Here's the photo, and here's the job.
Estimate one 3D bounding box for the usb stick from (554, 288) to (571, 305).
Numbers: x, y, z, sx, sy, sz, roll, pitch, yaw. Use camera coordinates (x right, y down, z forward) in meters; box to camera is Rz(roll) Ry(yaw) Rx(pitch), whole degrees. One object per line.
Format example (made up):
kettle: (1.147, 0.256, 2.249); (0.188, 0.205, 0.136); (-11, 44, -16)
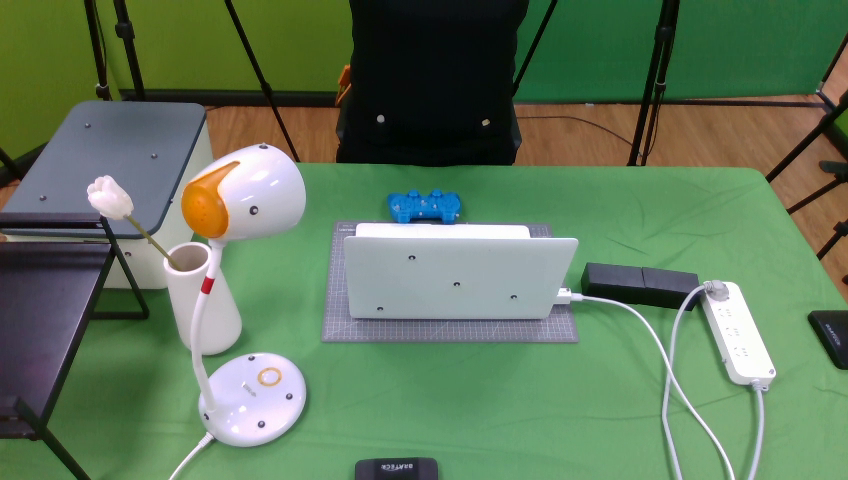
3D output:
usb stick: (0.236, 0.103, 1.101); (0.059, 0.027, 0.021); (-2, 46, 1)

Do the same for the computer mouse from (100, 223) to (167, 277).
computer mouse: (-0.539, 0.014, 1.123); (0.062, 0.041, 0.117); (30, 57, 18)

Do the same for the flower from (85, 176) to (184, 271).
flower: (-0.365, 0.038, 0.894); (0.038, 0.364, 0.044); (-6, 53, 14)

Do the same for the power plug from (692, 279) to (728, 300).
power plug: (0.522, 0.091, 1.116); (0.072, 0.053, 0.035); (10, 47, 8)

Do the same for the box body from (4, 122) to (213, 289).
box body: (-0.563, -0.086, 1.138); (0.254, 0.161, 0.361); (2, 46, -3)

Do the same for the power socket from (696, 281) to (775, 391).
power socket: (0.550, 0.160, 1.078); (0.072, 0.033, 0.225); (2, 46, -1)

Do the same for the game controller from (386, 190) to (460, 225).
game controller: (0.000, -0.073, 1.251); (0.155, 0.052, 0.096); (-2, 47, -5)

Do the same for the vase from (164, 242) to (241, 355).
vase: (-0.349, 0.096, 0.954); (0.098, 0.201, 0.097); (3, 47, -3)

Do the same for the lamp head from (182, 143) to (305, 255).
lamp head: (-0.216, -0.044, 0.697); (0.112, 0.113, 0.123); (23, 31, 17)

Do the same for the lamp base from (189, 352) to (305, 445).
lamp base: (-0.268, 0.196, 0.876); (0.160, 0.181, 0.179); (26, 52, 20)

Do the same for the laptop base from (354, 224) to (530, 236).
laptop base: (0.041, 0.055, 1.149); (0.355, 0.023, 0.234); (1, 43, -4)

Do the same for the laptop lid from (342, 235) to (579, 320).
laptop lid: (0.051, 0.067, 0.973); (0.357, 0.243, 0.013); (1, 52, -5)

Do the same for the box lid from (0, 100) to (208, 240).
box lid: (-0.559, -0.137, 1.084); (0.263, 0.015, 0.369); (2, 46, -2)
